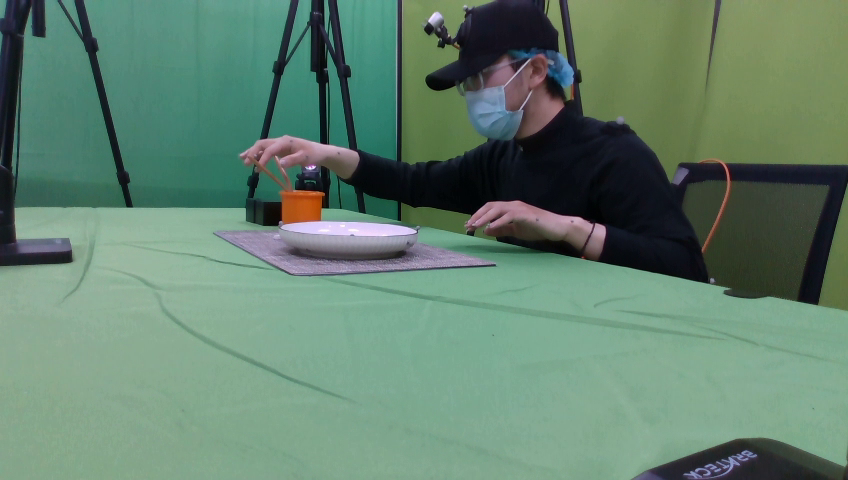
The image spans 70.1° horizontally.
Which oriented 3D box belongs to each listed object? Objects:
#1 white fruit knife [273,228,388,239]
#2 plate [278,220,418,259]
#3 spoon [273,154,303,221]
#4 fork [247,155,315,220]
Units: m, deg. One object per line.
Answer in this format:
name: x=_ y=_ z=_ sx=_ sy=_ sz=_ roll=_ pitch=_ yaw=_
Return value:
white fruit knife: x=-0.158 y=-0.009 z=1.056 sx=0.208 sy=0.016 sz=0.027 roll=-3 pitch=-22 yaw=-23
plate: x=-0.114 y=-0.002 z=0.914 sx=0.209 sy=0.038 sz=0.209 roll=2 pitch=7 yaw=0
spoon: x=-0.280 y=-0.107 z=1.247 sx=0.021 sy=0.193 sz=0.042 roll=-29 pitch=-30 yaw=12
fork: x=-0.274 y=-0.096 z=1.188 sx=0.028 sy=0.018 sz=0.208 roll=29 pitch=-19 yaw=50
